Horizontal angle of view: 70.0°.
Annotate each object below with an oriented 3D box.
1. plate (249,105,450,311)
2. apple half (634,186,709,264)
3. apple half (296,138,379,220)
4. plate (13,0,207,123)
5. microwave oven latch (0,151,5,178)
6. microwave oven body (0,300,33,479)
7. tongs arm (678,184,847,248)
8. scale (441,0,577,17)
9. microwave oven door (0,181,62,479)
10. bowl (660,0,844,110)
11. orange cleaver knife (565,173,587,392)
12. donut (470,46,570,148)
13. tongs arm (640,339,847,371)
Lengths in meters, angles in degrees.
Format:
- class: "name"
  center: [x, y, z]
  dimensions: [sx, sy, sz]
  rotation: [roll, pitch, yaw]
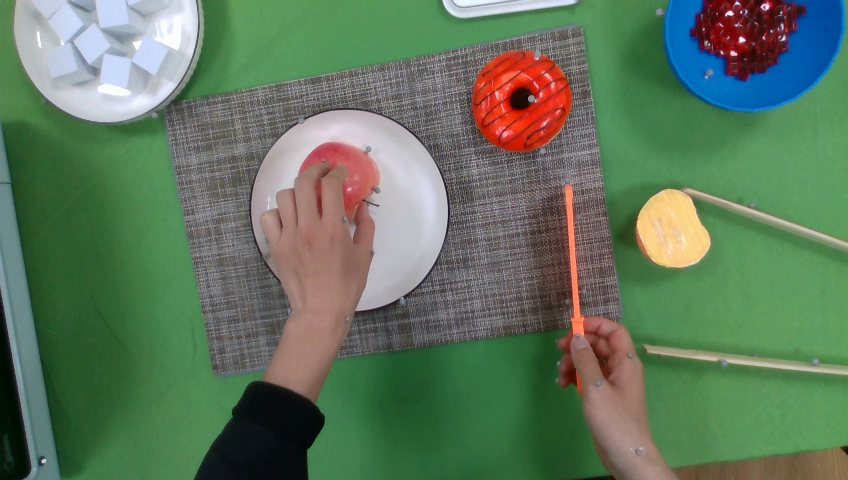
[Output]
- class: "plate"
  center: [-0.076, -0.032, 0.628]
  dimensions: [0.209, 0.038, 0.209]
  rotation: [0, 95, 6]
- class: "apple half"
  center: [0.236, -0.011, 0.599]
  dimensions: [0.081, 0.033, 0.081]
  rotation: [3, 77, -14]
- class: "apple half"
  center: [-0.091, -0.064, 0.611]
  dimensions: [0.074, 0.053, 0.081]
  rotation: [44, 98, 5]
- class: "plate"
  center: [-0.326, -0.227, 0.641]
  dimensions: [0.207, 0.039, 0.208]
  rotation: [0, 95, 6]
- class: "microwave oven latch"
  center: [-0.477, -0.105, 0.650]
  dimensions: [0.030, 0.029, 0.079]
  rotation: [-4, 95, 6]
- class: "microwave oven body"
  center: [-0.613, 0.094, 0.586]
  dimensions: [0.326, 0.260, 0.442]
  rotation: [-6, 95, 6]
- class: "tongs arm"
  center: [0.431, 0.021, 0.588]
  dimensions: [0.387, 0.028, 0.028]
  rotation: [22, 89, 3]
- class: "scale"
  center: [0.082, -0.330, 0.591]
  dimensions: [0.148, 0.031, 0.201]
  rotation: [-4, 95, 7]
- class: "microwave oven door"
  center: [-0.465, 0.120, 0.567]
  dimensions: [0.039, 0.244, 0.356]
  rotation: [-7, 94, 7]
- class: "bowl"
  center: [0.287, -0.191, 0.558]
  dimensions: [0.151, 0.077, 0.151]
  rotation: [1, 96, 6]
- class: "orange cleaver knife"
  center: [0.147, 0.040, 0.592]
  dimensions: [0.012, 0.077, 0.211]
  rotation: [-4, 95, 14]
- class: "donut"
  center: [0.093, -0.140, 0.597]
  dimensions: [0.099, 0.048, 0.099]
  rotation: [1, 96, 8]
- class: "tongs arm"
  center: [0.413, 0.105, 0.594]
  dimensions: [0.384, 0.026, 0.051]
  rotation: [7, 92, 5]
